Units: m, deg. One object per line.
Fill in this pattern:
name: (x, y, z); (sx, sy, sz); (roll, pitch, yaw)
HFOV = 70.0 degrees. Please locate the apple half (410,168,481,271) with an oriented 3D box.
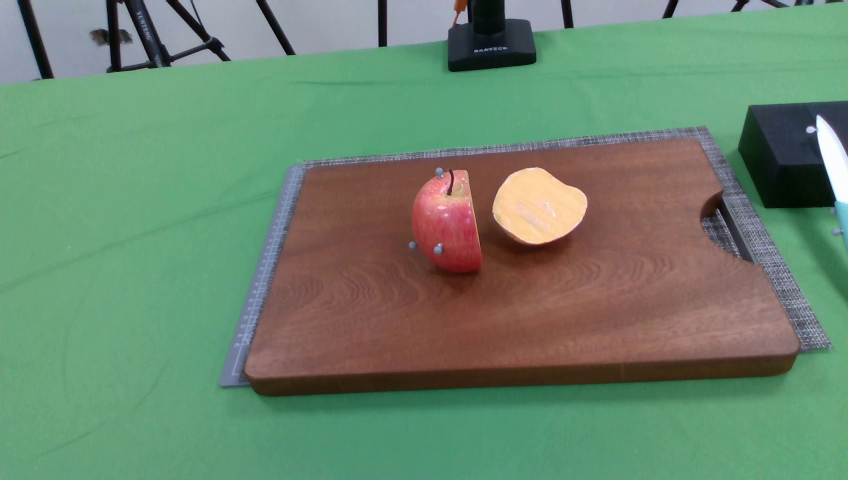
apple half: (0.016, -0.014, 0.497); (0.053, 0.075, 0.080); (-11, 46, 5)

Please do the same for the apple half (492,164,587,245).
apple half: (0.096, -0.024, 0.524); (0.081, 0.033, 0.080); (-3, 59, 5)

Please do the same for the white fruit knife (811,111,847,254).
white fruit knife: (0.350, -0.027, 0.497); (0.027, 0.016, 0.205); (-2, 60, 7)
